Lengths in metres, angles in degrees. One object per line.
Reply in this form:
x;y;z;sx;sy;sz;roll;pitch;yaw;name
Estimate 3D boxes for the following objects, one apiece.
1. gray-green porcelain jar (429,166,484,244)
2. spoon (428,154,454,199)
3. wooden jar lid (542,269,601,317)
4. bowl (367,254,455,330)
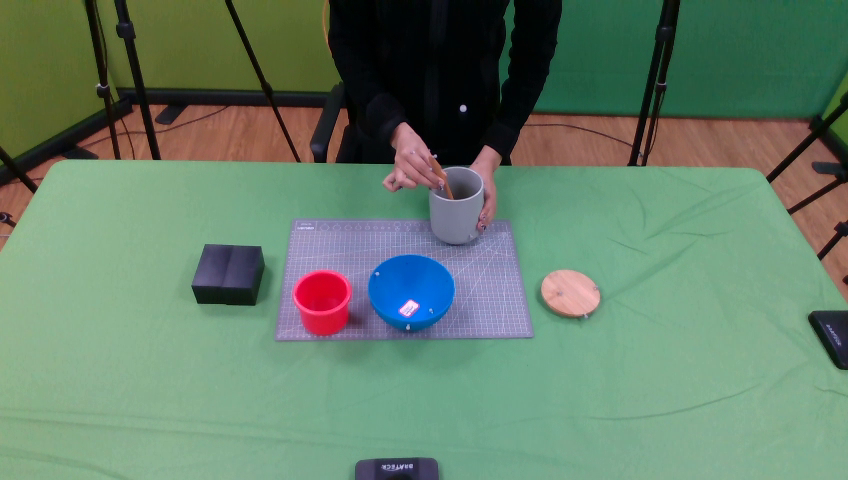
0.064;-0.064;1.182;0.106;0.127;0.105;-2;45;3;gray-green porcelain jar
0.046;-0.087;1.133;0.041;0.195;0.021;10;49;37;spoon
0.272;0.100;1.121;0.108;0.021;0.107;3;47;-2;wooden jar lid
-0.023;0.104;1.053;0.151;0.077;0.150;2;46;-2;bowl
